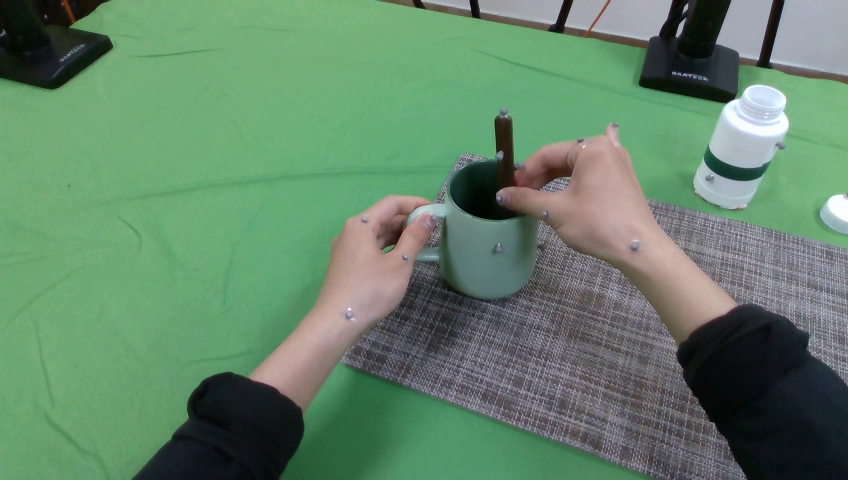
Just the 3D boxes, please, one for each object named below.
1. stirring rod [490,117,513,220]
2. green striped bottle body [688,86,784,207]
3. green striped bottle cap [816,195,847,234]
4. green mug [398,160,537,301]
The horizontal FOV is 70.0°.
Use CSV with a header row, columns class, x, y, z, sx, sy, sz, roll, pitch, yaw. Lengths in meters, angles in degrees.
class,x,y,z,sx,sy,sz,roll,pitch,yaw
stirring rod,0.067,-0.026,0.504,0.014,0.178,0.006,8,47,19
green striped bottle body,0.319,-0.096,0.618,0.063,0.120,0.062,0,48,0
green striped bottle cap,0.432,-0.026,0.624,0.044,0.020,0.044,1,44,0
green mug,0.039,-0.005,0.542,0.125,0.106,0.091,-7,48,-5
